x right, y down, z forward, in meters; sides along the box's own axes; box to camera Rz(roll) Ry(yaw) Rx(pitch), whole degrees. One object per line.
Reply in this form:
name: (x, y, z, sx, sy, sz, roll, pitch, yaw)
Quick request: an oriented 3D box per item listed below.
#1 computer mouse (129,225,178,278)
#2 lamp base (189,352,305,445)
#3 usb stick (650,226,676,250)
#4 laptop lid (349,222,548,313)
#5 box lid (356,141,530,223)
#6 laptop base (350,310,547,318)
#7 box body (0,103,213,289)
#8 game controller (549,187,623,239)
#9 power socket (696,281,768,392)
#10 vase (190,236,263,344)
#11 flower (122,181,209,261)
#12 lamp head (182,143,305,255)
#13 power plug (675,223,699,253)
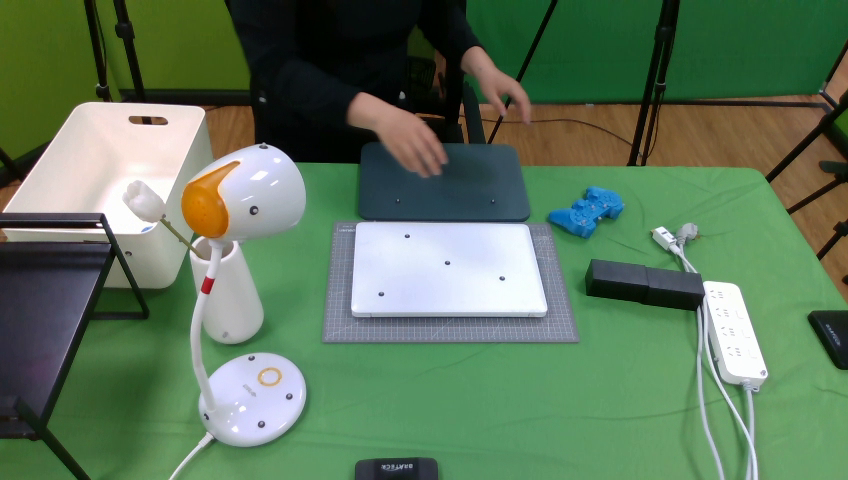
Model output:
computer mouse: (-0.500, 0.018, 1.121, 0.063, 0.041, 0.116, 4, 53, -5)
lamp base: (-0.268, 0.196, 0.876, 0.160, 0.181, 0.179, 25, 52, 20)
usb stick: (0.486, -0.008, 1.238, 0.021, 0.027, 0.059, -23, 44, -12)
laptop lid: (0.042, 0.046, 1.142, 0.357, 0.013, 0.240, 2, 44, -3)
box lid: (0.040, -0.132, 1.339, 0.372, 0.015, 0.261, 0, 46, -4)
laptop base: (0.041, 0.056, 1.149, 0.355, 0.023, 0.234, 0, 42, -4)
box body: (-0.563, -0.087, 1.139, 0.254, 0.161, 0.361, 2, 46, -3)
game controller: (0.346, -0.065, 1.272, 0.155, 0.052, 0.096, -31, 58, -29)
power socket: (0.543, 0.161, 1.077, 0.072, 0.033, 0.225, 5, 46, 2)
vase: (-0.317, 0.081, 0.971, 0.098, 0.201, 0.097, 3, 47, -3)
flower: (-0.329, 0.029, 0.905, 0.038, 0.364, 0.044, -21, 58, -1)
lamp head: (-0.216, -0.044, 0.697, 0.112, 0.113, 0.123, 23, 31, 17)
power plug: (0.537, 0.000, 1.243, 0.053, 0.035, 0.072, 19, 81, -17)
